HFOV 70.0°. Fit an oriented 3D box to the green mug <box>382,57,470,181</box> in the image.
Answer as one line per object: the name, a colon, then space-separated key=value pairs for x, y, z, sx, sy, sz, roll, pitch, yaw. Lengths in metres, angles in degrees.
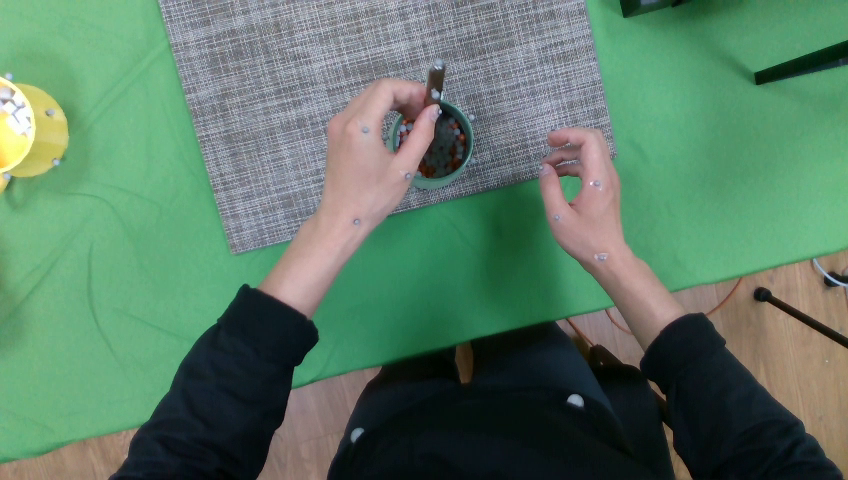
green mug: x=0.003 y=-0.124 z=0.625 sx=0.092 sy=0.104 sz=0.125 roll=2 pitch=95 yaw=-3

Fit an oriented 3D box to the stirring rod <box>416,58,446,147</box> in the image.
stirring rod: x=0.005 y=-0.115 z=0.534 sx=0.014 sy=0.176 sz=0.006 roll=-29 pitch=83 yaw=-9

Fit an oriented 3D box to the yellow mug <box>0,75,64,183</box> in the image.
yellow mug: x=-0.441 y=-0.105 z=0.620 sx=0.100 sy=0.064 sz=0.131 roll=18 pitch=95 yaw=-6
